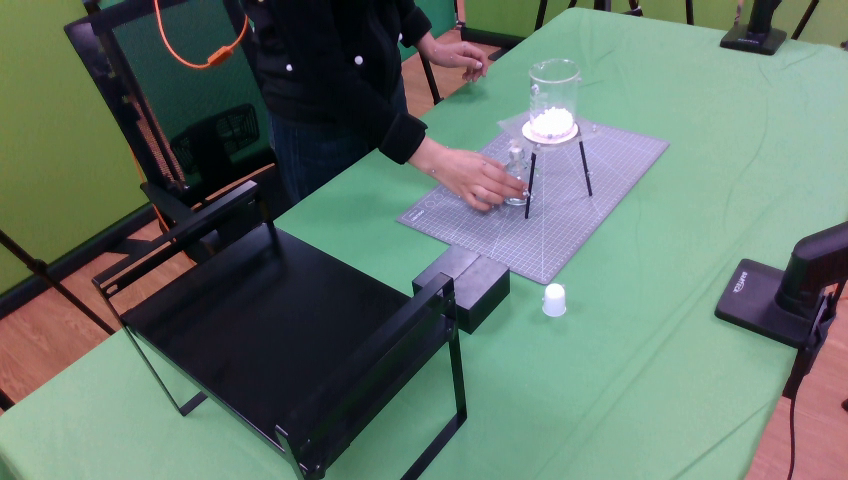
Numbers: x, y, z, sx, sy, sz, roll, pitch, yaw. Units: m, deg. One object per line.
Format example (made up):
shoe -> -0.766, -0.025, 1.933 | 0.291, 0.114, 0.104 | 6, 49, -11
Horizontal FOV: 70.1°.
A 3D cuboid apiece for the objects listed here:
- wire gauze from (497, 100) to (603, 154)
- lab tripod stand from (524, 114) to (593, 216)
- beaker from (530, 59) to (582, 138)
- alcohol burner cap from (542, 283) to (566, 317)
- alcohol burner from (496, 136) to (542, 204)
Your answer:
wire gauze -> 0.199, -0.179, 0.962 | 0.125, 0.011, 0.120 | -21, 41, -12
lab tripod stand -> 0.210, -0.127, 1.001 | 0.148, 0.132, 0.147 | -4, 42, 4
beaker -> 0.198, -0.217, 0.932 | 0.074, 0.101, 0.083 | -22, 43, -16
alcohol burner cap -> 0.181, 0.081, 0.839 | 0.034, 0.048, 0.033 | -3, 40, 3
alcohol burner -> 0.159, -0.121, 1.014 | 0.078, 0.119, 0.077 | -5, 40, 5
